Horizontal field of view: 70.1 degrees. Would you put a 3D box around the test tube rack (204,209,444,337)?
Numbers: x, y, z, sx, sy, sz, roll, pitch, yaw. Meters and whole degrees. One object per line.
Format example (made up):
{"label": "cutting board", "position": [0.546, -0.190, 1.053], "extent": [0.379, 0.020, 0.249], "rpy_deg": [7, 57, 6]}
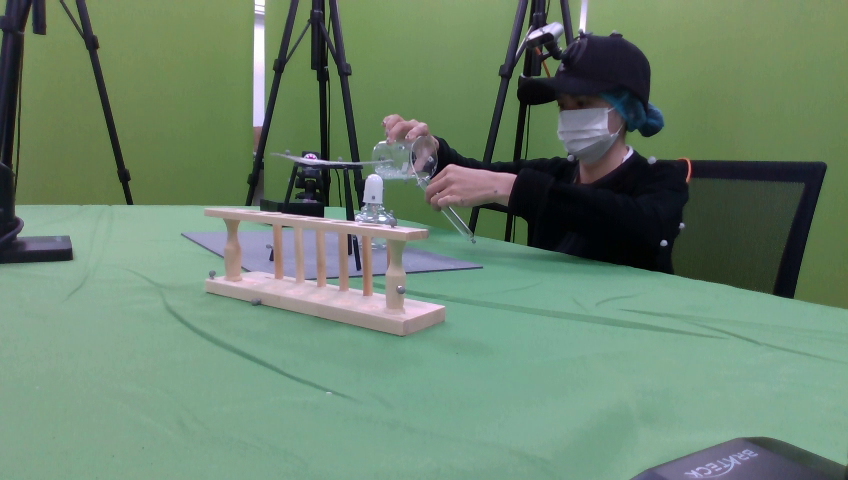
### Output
{"label": "test tube rack", "position": [-0.100, 0.021, 0.565], "extent": [0.241, 0.085, 0.067], "rpy_deg": [7, 9, 32]}

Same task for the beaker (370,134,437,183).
{"label": "beaker", "position": [-0.039, -0.140, 1.062], "extent": [0.100, 0.084, 0.074], "rpy_deg": [2, -3, 38]}

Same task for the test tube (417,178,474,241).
{"label": "test tube", "position": [0.035, -0.051, 0.997], "extent": [0.017, 0.017, 0.149], "rpy_deg": [-5, 46, -45]}

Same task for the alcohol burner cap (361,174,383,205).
{"label": "alcohol burner cap", "position": [-0.080, -0.078, 0.944], "extent": [0.034, 0.048, 0.034], "rpy_deg": [5, 8, 0]}

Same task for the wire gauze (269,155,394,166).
{"label": "wire gauze", "position": [-0.121, -0.102, 0.785], "extent": [0.122, 0.011, 0.124], "rpy_deg": [-3, 10, -39]}

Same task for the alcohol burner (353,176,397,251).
{"label": "alcohol burner", "position": [-0.082, -0.043, 0.950], "extent": [0.078, 0.119, 0.078], "rpy_deg": [1, 8, 0]}

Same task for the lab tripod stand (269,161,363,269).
{"label": "lab tripod stand", "position": [-0.125, -0.036, 0.794], "extent": [0.148, 0.131, 0.148], "rpy_deg": [5, 7, 0]}
